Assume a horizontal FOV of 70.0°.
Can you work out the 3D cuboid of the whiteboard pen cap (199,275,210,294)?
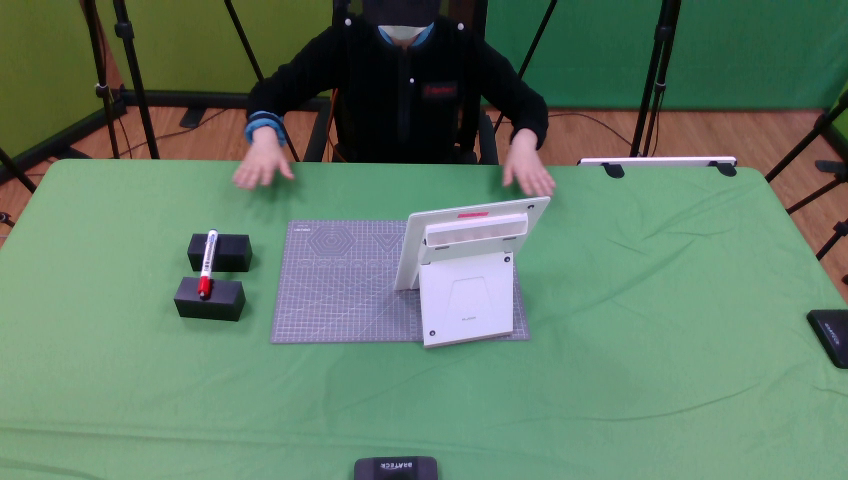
[{"bbox_3d":[-0.372,0.075,1.030,0.017,0.017,0.032,-4,48,-8],"label":"whiteboard pen cap"}]

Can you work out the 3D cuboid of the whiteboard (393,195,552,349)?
[{"bbox_3d":[0.077,0.071,0.977,0.217,0.306,0.143,-7,66,-11],"label":"whiteboard"}]

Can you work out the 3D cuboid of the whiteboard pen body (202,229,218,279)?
[{"bbox_3d":[-0.378,0.033,1.068,0.017,0.017,0.139,-2,47,-7],"label":"whiteboard pen body"}]
